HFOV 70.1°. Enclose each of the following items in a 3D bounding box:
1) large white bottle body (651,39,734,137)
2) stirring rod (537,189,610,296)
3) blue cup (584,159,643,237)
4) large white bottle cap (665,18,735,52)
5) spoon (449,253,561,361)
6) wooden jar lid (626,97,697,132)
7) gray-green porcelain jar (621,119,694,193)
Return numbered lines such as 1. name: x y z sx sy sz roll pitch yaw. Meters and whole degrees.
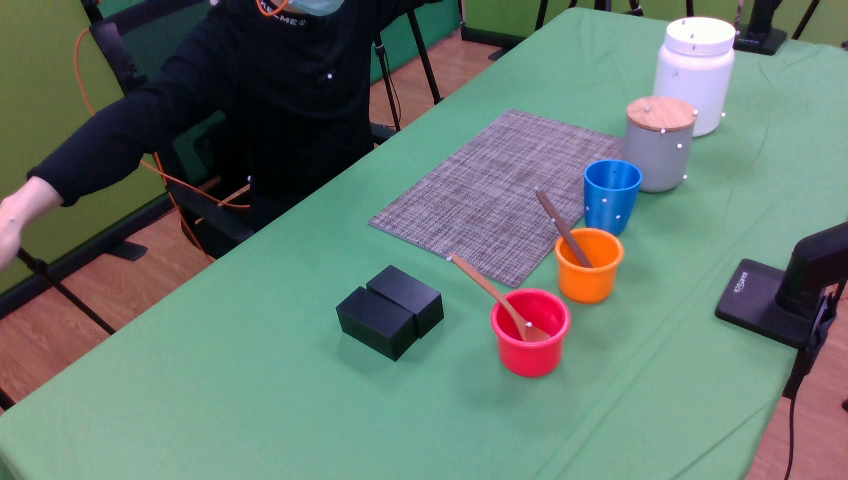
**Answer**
1. large white bottle body: 0.496 -0.300 1.126 0.130 0.185 0.130 -4 41 4
2. stirring rod: 0.211 0.003 0.855 0.014 0.006 0.176 -32 88 -30
3. blue cup: 0.289 -0.061 0.944 0.092 0.100 0.092 -3 40 3
4. large white bottle cap: 0.488 -0.364 1.071 0.115 0.018 0.114 -4 41 4
5. spoon: 0.103 0.083 0.770 0.194 0.021 0.042 47 51 -7
6. wooden jar lid: 0.381 -0.198 0.976 0.108 0.021 0.108 -2 40 3
7. gray-green porcelain jar: 0.389 -0.152 1.016 0.106 0.127 0.105 -4 40 4
